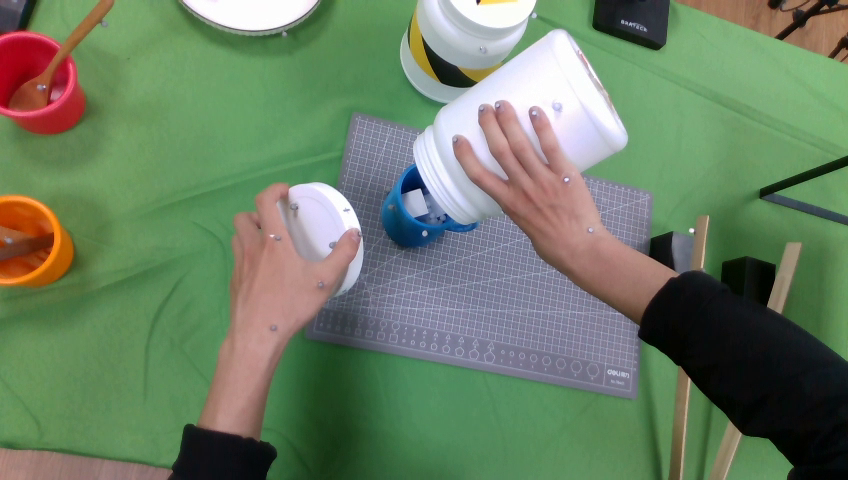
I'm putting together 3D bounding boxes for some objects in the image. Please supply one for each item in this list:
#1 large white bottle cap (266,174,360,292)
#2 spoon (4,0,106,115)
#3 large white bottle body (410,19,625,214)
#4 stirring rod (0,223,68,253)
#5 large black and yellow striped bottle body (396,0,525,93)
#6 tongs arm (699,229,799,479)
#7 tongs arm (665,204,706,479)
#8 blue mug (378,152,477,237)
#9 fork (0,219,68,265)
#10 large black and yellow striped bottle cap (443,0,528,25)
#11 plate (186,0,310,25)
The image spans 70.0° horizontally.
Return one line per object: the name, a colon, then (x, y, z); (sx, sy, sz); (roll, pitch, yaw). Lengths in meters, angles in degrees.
large white bottle cap: (-0.110, -0.006, 0.586); (0.018, 0.114, 0.114); (-14, 82, -53)
spoon: (-0.392, -0.200, 0.644); (0.194, 0.021, 0.041); (-35, 85, 25)
large white bottle body: (0.090, -0.115, 0.610); (0.184, 0.131, 0.130); (-29, 87, 24)
stirring rod: (-0.434, 0.011, 0.597); (0.014, 0.006, 0.176); (59, 30, -2)
large black and yellow striped bottle body: (0.046, -0.279, 0.754); (0.131, 0.184, 0.130); (3, 78, -14)
tongs arm: (0.434, 0.165, 0.820); (0.028, 0.027, 0.387); (22, 86, -19)
tongs arm: (0.356, 0.146, 0.800); (0.051, 0.026, 0.384); (8, 90, -16)
blue mug: (0.008, -0.048, 0.740); (0.117, 0.106, 0.082); (20, 75, -11)
fork: (-0.449, -0.031, 0.595); (0.209, 0.018, 0.028); (47, 63, -48)
large black and yellow striped bottle cap: (0.066, -0.297, 0.675); (0.115, 0.019, 0.114); (3, 80, -15)
plate: (-0.230, -0.366, 0.773); (0.208, 0.039, 0.207); (3, 79, -14)
